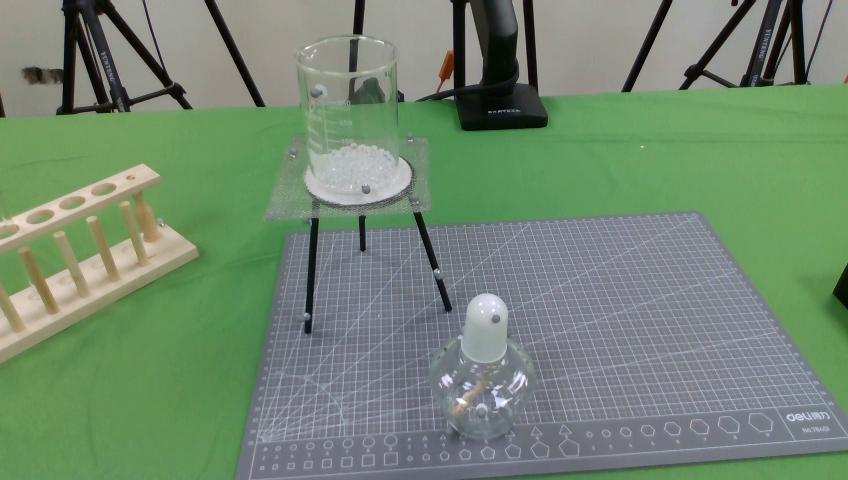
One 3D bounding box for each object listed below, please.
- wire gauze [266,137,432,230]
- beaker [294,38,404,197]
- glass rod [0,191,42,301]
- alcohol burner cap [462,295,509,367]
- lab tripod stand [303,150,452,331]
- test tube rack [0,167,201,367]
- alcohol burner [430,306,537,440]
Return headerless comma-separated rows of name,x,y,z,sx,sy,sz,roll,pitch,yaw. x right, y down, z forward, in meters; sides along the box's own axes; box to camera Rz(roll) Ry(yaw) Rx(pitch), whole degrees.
wire gauze,-0.055,-0.051,0.484,0.121,0.011,0.124,-1,40,-1
beaker,-0.056,-0.090,0.456,0.083,0.101,0.074,22,43,25
glass rod,-0.357,-0.031,0.510,0.008,0.201,0.008,0,30,0
alcohol burner cap,0.043,0.058,0.406,0.034,0.048,0.033,1,39,-1
lab tripod stand,-0.046,0.000,0.526,0.148,0.132,0.147,0,37,0
test tube rack,-0.334,0.028,0.542,0.066,0.086,0.242,28,46,33
alcohol burner,0.043,0.087,0.428,0.078,0.120,0.077,0,40,0
